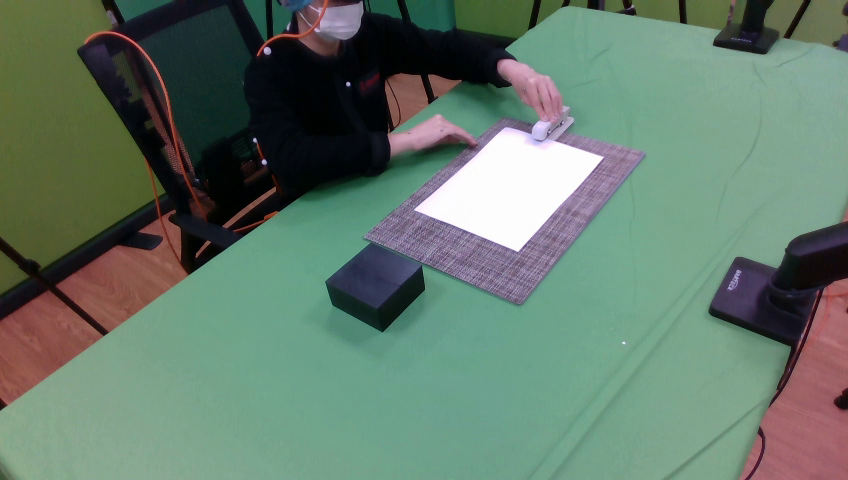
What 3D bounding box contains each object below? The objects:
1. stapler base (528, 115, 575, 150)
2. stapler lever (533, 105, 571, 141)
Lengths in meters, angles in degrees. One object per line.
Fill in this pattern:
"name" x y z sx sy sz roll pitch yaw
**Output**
"stapler base" 0.250 -0.219 1.185 0.041 0.024 0.131 24 48 28
"stapler lever" 0.249 -0.232 1.175 0.026 0.040 0.118 24 57 28
